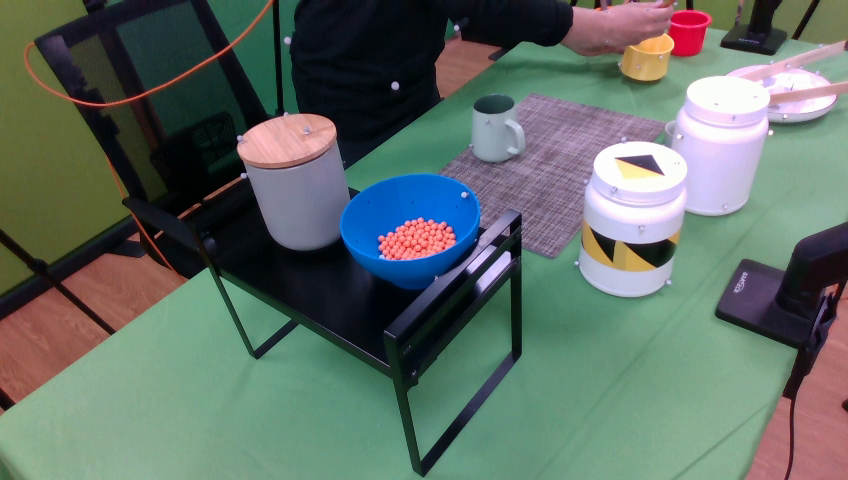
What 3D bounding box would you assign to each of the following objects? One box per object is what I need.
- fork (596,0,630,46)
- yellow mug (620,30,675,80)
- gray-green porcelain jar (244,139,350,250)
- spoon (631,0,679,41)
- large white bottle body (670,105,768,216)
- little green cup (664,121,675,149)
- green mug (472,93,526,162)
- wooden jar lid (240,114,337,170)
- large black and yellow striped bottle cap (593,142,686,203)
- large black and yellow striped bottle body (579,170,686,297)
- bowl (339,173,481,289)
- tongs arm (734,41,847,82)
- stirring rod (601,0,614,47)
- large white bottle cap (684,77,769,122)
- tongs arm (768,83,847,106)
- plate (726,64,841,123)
[{"bbox_3d":[0.481,-0.556,1.452,0.028,0.019,0.207,40,103,38],"label":"fork"},{"bbox_3d":[0.473,-0.408,1.308,0.100,0.064,0.130,-16,48,-12],"label":"yellow mug"},{"bbox_3d":[-0.144,-0.060,0.714,0.106,0.127,0.105,-4,41,4],"label":"gray-green porcelain jar"},{"bbox_3d":[0.446,-0.428,1.155,0.021,0.193,0.041,36,83,0],"label":"spoon"},{"bbox_3d":[0.458,-0.146,0.952,0.130,0.185,0.130,-4,40,4],"label":"large white bottle body"},{"bbox_3d":[0.472,-0.188,1.113,0.061,0.039,0.061,-4,40,4],"label":"little green cup"},{"bbox_3d":[0.144,-0.202,1.122,0.093,0.105,0.124,-29,45,-23],"label":"green mug"},{"bbox_3d":[-0.149,-0.106,0.673,0.108,0.021,0.108,-6,39,5],"label":"wooden jar lid"},{"bbox_3d":[0.280,-0.090,0.786,0.115,0.019,0.114,-5,41,5],"label":"large black and yellow striped bottle cap"},{"bbox_3d":[0.287,-0.027,0.841,0.131,0.185,0.130,-4,40,4],"label":"large black and yellow striped bottle body"},{"bbox_3d":[-0.011,0.001,0.660,0.151,0.077,0.150,-5,41,5],"label":"bowl"},{"bbox_3d":[0.712,-0.332,1.194,0.386,0.026,0.050,-18,45,-16],"label":"tongs arm"},{"bbox_3d":[0.440,-0.552,1.463,0.014,0.006,0.175,-7,83,2],"label":"stirring rod"},{"bbox_3d":[0.448,-0.209,0.897,0.115,0.018,0.114,-4,40,4],"label":"large white bottle cap"},{"bbox_3d":[0.738,-0.282,1.134,0.388,0.028,0.028,-9,47,-5],"label":"tongs arm"},{"bbox_3d":[0.695,-0.282,1.189,0.207,0.039,0.206,-4,40,4],"label":"plate"}]
